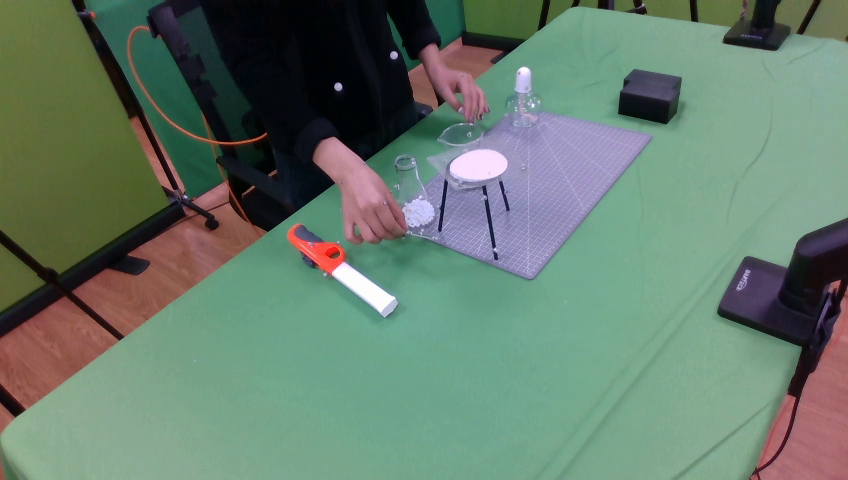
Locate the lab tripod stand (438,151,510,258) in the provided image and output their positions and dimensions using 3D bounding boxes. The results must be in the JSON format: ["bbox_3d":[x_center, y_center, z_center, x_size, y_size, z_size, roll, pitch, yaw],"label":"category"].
[{"bbox_3d":[0.087,-0.064,0.952,0.148,0.132,0.147,-6,38,5],"label":"lab tripod stand"}]

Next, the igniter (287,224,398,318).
[{"bbox_3d":[-0.139,0.042,0.958,0.057,0.025,0.274,-42,49,-19],"label":"igniter"}]

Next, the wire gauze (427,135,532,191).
[{"bbox_3d":[0.081,-0.115,0.909,0.125,0.011,0.120,-18,39,-11],"label":"wire gauze"}]

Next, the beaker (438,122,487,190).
[{"bbox_3d":[0.072,-0.147,1.080,0.084,0.101,0.073,-5,40,7],"label":"beaker"}]

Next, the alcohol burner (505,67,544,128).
[{"bbox_3d":[0.201,-0.288,1.211,0.078,0.119,0.077,-6,38,5],"label":"alcohol burner"}]

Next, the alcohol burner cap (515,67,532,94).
[{"bbox_3d":[0.197,-0.315,1.187,0.034,0.048,0.033,-3,47,3],"label":"alcohol burner cap"}]

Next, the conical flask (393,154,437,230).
[{"bbox_3d":[-0.022,-0.082,1.003,0.075,0.122,0.075,-6,40,5],"label":"conical flask"}]

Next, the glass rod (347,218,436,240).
[{"bbox_3d":[-0.057,-0.020,0.991,0.198,0.008,0.008,13,45,39],"label":"glass rod"}]
